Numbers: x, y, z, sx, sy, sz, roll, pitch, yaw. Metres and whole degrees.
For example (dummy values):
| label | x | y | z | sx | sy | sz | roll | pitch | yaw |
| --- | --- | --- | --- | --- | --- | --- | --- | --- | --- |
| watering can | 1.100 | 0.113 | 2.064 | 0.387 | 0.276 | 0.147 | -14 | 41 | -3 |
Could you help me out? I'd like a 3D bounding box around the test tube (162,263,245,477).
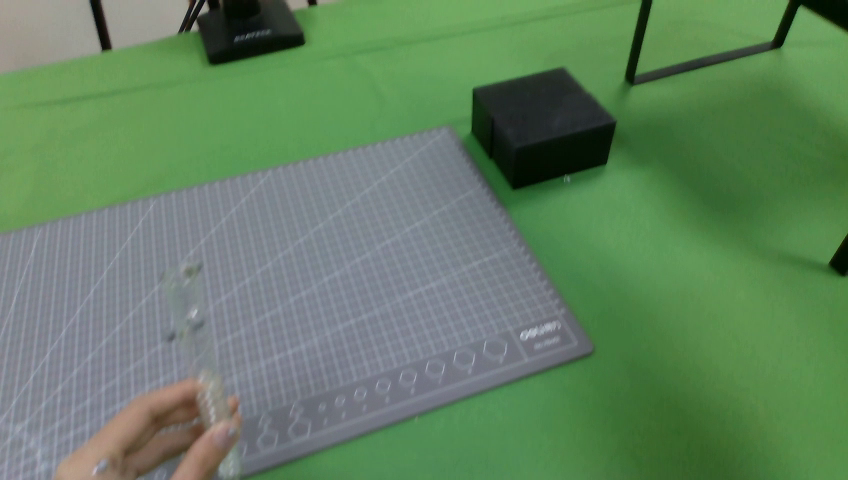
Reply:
| label | x | y | z | sx | sy | sz | roll | pitch | yaw |
| --- | --- | --- | --- | --- | --- | --- | --- | --- | --- |
| test tube | -0.113 | 0.076 | 0.318 | 0.017 | 0.151 | 0.017 | 1 | 35 | 0 |
